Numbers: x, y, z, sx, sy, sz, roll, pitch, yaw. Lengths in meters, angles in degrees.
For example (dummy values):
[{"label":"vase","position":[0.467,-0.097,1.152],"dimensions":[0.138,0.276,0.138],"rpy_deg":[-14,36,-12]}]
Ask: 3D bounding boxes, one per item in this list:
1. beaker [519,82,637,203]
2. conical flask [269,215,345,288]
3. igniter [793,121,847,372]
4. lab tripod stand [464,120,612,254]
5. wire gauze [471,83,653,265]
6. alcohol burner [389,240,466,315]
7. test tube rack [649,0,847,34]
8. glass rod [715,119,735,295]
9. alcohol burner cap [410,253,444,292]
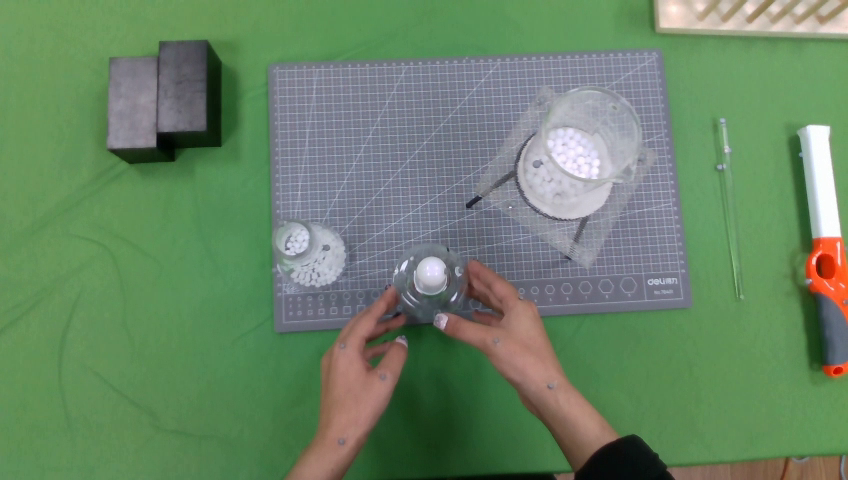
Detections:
[{"label":"beaker","position":[0.121,-0.071,0.493],"dimensions":[0.074,0.100,0.084],"rpy_deg":[-42,85,-6]},{"label":"conical flask","position":[-0.120,0.006,0.593],"dimensions":[0.075,0.122,0.075],"rpy_deg":[0,81,-2]},{"label":"igniter","position":[0.439,0.004,0.666],"dimensions":[0.057,0.025,0.275],"rpy_deg":[1,82,-13]},{"label":"lab tripod stand","position":[0.119,-0.053,0.605],"dimensions":[0.148,0.132,0.148],"rpy_deg":[0,83,-1]},{"label":"wire gauze","position":[0.123,-0.061,0.540],"dimensions":[0.125,0.011,0.121],"rpy_deg":[34,85,1]},{"label":"alcohol burner","position":[0.003,0.035,0.598],"dimensions":[0.078,0.119,0.077],"rpy_deg":[0,81,0]},{"label":"test tube rack","position":[0.387,-0.284,0.676],"dimensions":[0.242,0.085,0.066],"rpy_deg":[1,81,-2]},{"label":"glass rod","position":[0.337,-0.038,0.677],"dimensions":[0.008,0.008,0.199],"rpy_deg":[-1,84,-3]},{"label":"alcohol burner cap","position":[0.004,0.028,0.562],"dimensions":[0.034,0.048,0.033],"rpy_deg":[1,73,-4]}]
